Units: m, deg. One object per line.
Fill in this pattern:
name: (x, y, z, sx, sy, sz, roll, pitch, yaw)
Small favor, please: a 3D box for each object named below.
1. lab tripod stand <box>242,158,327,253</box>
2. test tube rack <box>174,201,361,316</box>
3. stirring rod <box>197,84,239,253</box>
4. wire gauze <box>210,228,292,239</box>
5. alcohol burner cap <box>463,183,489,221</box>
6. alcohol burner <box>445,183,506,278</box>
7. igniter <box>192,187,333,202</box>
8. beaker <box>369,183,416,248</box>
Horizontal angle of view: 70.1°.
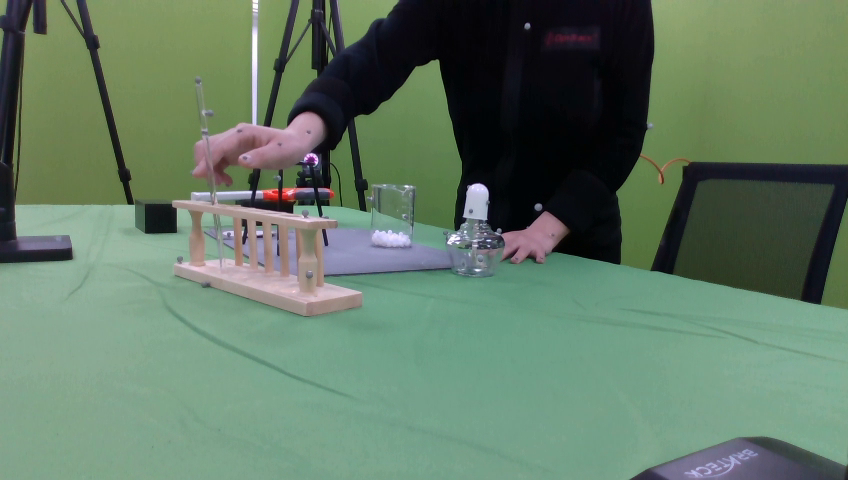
lab tripod stand: (-0.207, -0.054, 0.895, 0.148, 0.131, 0.148, 2, 5, 0)
test tube rack: (-0.169, 0.010, 0.622, 0.241, 0.085, 0.067, 9, 9, 41)
stirring rod: (-0.213, -0.072, 0.625, 0.006, 0.176, 0.014, -14, 12, -21)
wire gauze: (-0.298, -0.013, 1.039, 0.122, 0.011, 0.124, -2, 6, -27)
alcohol burner cap: (0.067, -0.048, 0.765, 0.034, 0.048, 0.034, 5, 5, 0)
alcohol burner: (0.066, -0.013, 0.771, 0.078, 0.119, 0.078, 0, 7, 0)
igniter: (-0.316, -0.090, 1.213, 0.278, 0.025, 0.057, -5, 12, -31)
beaker: (-0.050, -0.039, 0.971, 0.074, 0.100, 0.083, -1, 9, -25)
